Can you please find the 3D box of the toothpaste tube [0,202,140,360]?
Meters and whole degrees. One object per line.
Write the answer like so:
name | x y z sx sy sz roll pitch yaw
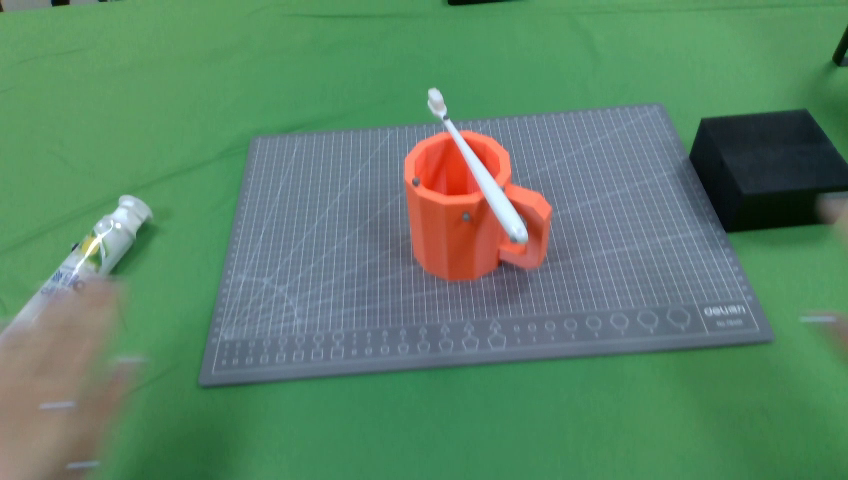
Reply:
toothpaste tube | -0.311 0.028 0.536 0.055 0.035 0.164 12 55 22

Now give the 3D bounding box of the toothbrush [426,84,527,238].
toothbrush | 0.037 -0.067 0.471 0.014 0.017 0.180 -16 51 -13

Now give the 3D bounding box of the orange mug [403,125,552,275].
orange mug | 0.044 -0.028 0.506 0.125 0.102 0.083 19 54 24

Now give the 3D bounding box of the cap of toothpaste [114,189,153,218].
cap of toothpaste | -0.278 -0.033 0.578 0.037 0.038 0.011 8 49 11
